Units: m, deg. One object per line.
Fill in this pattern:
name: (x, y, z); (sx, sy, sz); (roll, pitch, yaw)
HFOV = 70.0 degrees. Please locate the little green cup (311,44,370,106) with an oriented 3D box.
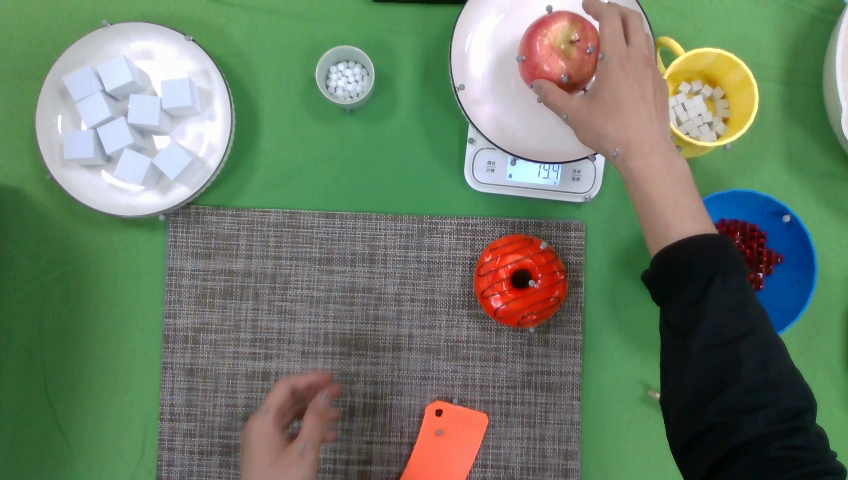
little green cup: (-0.086, -0.173, 0.646); (0.061, 0.038, 0.061); (0, 88, 0)

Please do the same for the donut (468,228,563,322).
donut: (0.094, 0.037, 0.632); (0.099, 0.048, 0.099); (0, 88, 1)

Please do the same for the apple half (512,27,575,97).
apple half: (0.108, -0.163, 0.589); (0.033, 0.081, 0.081); (-42, 88, -6)

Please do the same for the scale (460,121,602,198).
scale: (0.121, -0.150, 0.649); (0.149, 0.031, 0.200); (6, 88, 1)

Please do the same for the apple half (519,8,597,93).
apple half: (0.136, -0.190, 0.592); (0.053, 0.075, 0.080); (-42, 85, -5)

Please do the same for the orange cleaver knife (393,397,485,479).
orange cleaver knife: (-0.010, 0.261, 0.636); (0.077, 0.012, 0.211); (31, 86, -6)

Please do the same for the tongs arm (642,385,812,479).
tongs arm: (0.395, 0.260, 0.634); (0.387, 0.028, 0.028); (32, 82, 1)

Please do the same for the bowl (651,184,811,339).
bowl: (0.298, 0.022, 0.621); (0.151, 0.077, 0.151); (0, 89, 0)

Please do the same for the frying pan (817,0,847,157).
frying pan: (0.591, -0.080, 0.611); (0.307, 0.103, 0.485); (-25, 80, 0)

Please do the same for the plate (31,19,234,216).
plate: (-0.303, -0.127, 0.644); (0.208, 0.039, 0.207); (0, 88, 0)

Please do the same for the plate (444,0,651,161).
plate: (0.123, -0.182, 0.617); (0.209, 0.038, 0.209); (0, 88, -1)

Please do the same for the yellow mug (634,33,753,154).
yellow mug: (0.270, -0.158, 0.632); (0.100, 0.064, 0.130); (-30, 87, 0)
